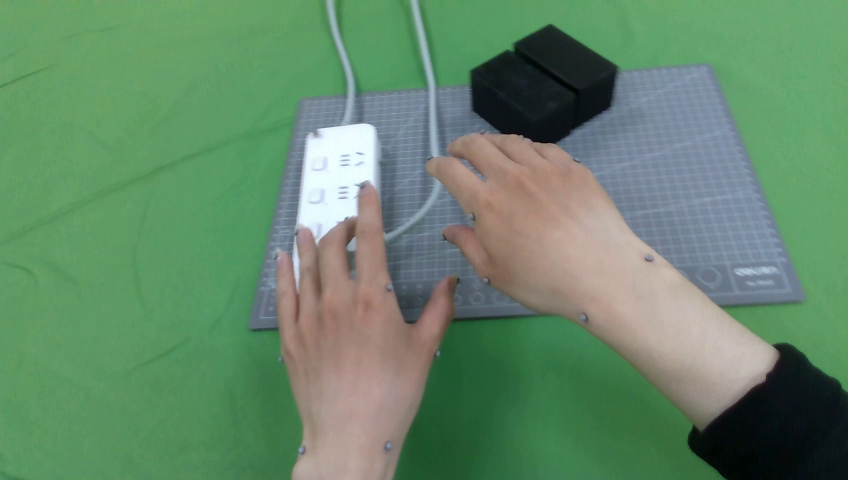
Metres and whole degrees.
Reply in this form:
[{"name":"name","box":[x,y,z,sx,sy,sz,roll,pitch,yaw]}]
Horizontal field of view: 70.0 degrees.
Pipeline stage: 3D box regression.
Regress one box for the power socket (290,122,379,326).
[{"name":"power socket","box":[-0.078,-0.027,0.559,0.072,0.033,0.224,-6,52,3]}]

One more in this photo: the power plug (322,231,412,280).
[{"name":"power plug","box":[-0.048,0.019,0.497,0.072,0.053,0.035,7,53,7]}]
